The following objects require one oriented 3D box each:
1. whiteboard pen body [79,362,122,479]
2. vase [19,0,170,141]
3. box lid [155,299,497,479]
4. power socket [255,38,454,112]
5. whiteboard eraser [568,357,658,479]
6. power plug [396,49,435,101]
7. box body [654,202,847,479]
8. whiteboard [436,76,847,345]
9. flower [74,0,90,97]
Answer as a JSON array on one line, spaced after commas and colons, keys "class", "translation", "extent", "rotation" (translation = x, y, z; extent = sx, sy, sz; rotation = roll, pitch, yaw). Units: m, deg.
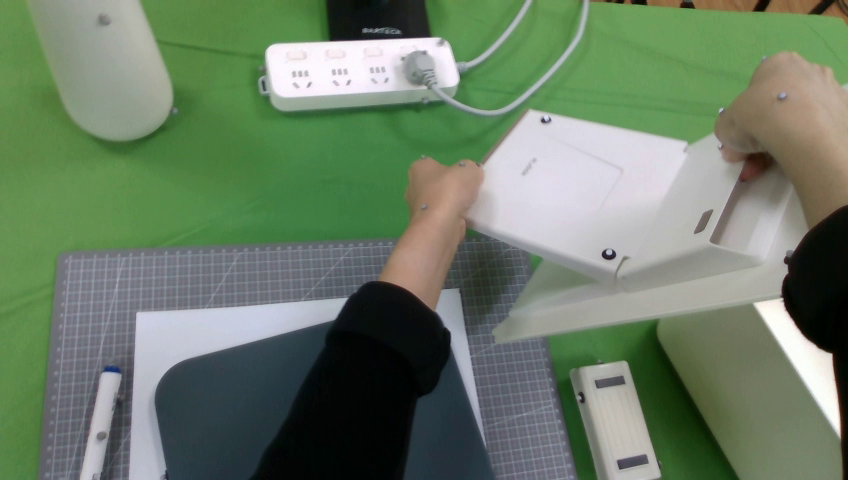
[{"class": "whiteboard pen body", "translation": [-0.260, 0.167, 0.479], "extent": [0.017, 0.017, 0.140], "rotation": [5, 68, -11]}, {"class": "vase", "translation": [-0.288, -0.172, 0.527], "extent": [0.098, 0.201, 0.097], "rotation": [5, 65, -10]}, {"class": "box lid", "translation": [-0.057, 0.242, 0.505], "extent": [0.264, 0.015, 0.369], "rotation": [-13, 71, -19]}, {"class": "power socket", "translation": [-0.072, -0.186, 0.677], "extent": [0.227, 0.033, 0.071], "rotation": [-8, 70, -17]}, {"class": "whiteboard eraser", "translation": [0.177, 0.170, 0.576], "extent": [0.056, 0.042, 0.112], "rotation": [-5, 68, -18]}, {"class": "power plug", "translation": [-0.012, -0.175, 0.662], "extent": [0.035, 0.053, 0.072], "rotation": [2, 73, -13]}, {"class": "box body", "translation": [0.425, 0.162, 0.571], "extent": [0.254, 0.161, 0.361], "rotation": [-21, 73, -21]}, {"class": "whiteboard", "translation": [0.148, -0.059, 0.482], "extent": [0.144, 0.305, 0.216], "rotation": [45, 60, -11]}, {"class": "flower", "translation": [-0.251, -0.198, 0.456], "extent": [0.038, 0.361, 0.044], "rotation": [46, 54, -10]}]
